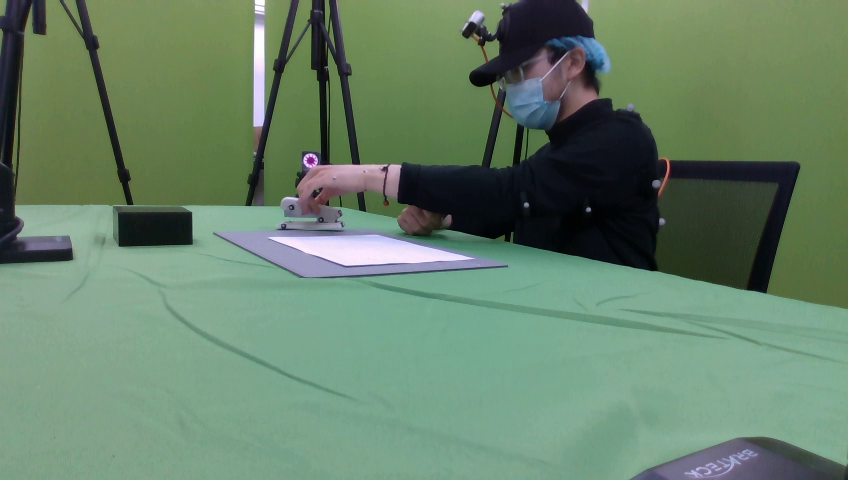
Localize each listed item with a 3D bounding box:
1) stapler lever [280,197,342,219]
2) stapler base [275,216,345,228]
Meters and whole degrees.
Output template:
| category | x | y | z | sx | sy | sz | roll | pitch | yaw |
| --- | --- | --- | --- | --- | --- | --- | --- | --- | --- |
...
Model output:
| category | x | y | z | sx | sy | sz | roll | pitch | yaw |
| --- | --- | --- | --- | --- | --- | --- | --- | --- | --- |
| stapler lever | -0.218 | -0.062 | 1.158 | 0.118 | 0.040 | 0.027 | 2 | 13 | 5 |
| stapler base | -0.219 | -0.037 | 1.163 | 0.130 | 0.024 | 0.041 | 1 | 13 | 5 |
